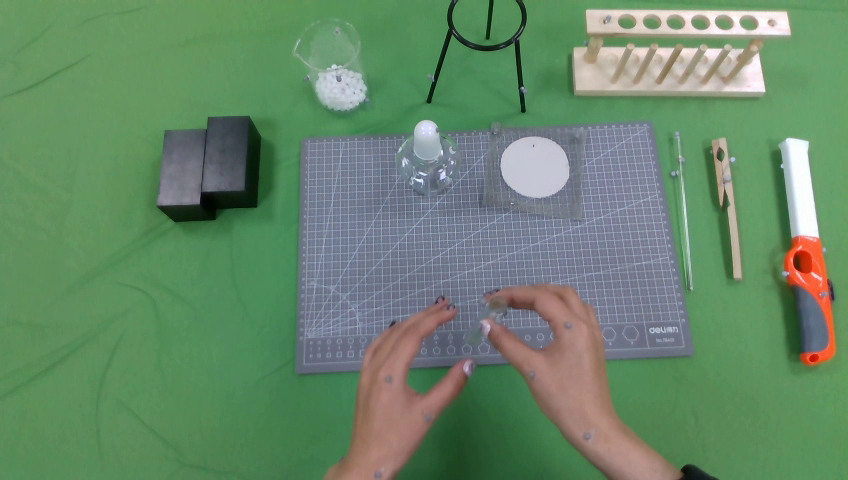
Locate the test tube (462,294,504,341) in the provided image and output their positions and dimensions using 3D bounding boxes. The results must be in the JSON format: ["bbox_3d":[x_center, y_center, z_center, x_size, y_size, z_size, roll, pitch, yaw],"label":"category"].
[{"bbox_3d":[0.052,0.074,0.559,0.017,0.151,0.017,1,71,-4],"label":"test tube"}]

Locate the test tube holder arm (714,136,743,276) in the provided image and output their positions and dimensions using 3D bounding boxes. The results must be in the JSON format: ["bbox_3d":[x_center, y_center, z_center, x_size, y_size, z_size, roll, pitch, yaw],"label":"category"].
[{"bbox_3d":[0.366,-0.044,0.732,0.013,0.015,0.177,-14,68,34],"label":"test tube holder arm"}]

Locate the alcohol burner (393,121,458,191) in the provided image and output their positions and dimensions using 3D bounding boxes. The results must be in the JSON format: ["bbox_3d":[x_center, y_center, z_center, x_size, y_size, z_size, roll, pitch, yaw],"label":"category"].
[{"bbox_3d":[0.001,-0.104,0.706,0.078,0.120,0.077,-1,71,3],"label":"alcohol burner"}]

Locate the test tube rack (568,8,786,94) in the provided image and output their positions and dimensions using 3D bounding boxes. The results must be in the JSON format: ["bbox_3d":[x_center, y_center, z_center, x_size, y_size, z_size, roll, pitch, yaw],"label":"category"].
[{"bbox_3d":[0.313,-0.236,0.763,0.242,0.086,0.066,1,71,1],"label":"test tube rack"}]

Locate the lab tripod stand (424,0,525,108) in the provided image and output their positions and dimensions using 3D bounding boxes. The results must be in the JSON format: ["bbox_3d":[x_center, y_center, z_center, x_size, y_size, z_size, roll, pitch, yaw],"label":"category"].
[{"bbox_3d":[0.066,-0.232,0.741,0.148,0.132,0.147,0,73,1],"label":"lab tripod stand"}]

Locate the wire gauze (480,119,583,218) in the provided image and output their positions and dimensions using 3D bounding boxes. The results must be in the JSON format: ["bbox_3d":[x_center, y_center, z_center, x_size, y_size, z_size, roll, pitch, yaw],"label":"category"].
[{"bbox_3d":[0.136,-0.093,0.757,0.125,0.011,0.121,8,73,3],"label":"wire gauze"}]

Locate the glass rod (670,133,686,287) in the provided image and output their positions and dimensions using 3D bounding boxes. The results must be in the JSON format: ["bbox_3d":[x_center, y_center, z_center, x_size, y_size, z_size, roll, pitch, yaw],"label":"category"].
[{"bbox_3d":[0.309,-0.040,0.738,0.008,0.008,0.198,3,74,2],"label":"glass rod"}]

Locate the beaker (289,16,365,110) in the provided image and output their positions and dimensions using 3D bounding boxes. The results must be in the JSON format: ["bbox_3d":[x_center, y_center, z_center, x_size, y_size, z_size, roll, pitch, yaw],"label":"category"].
[{"bbox_3d":[-0.116,-0.215,0.756,0.084,0.101,0.073,-10,71,-2],"label":"beaker"}]

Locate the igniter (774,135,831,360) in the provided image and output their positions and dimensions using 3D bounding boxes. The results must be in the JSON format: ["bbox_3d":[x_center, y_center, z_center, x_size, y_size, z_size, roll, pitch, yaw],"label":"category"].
[{"bbox_3d":[0.443,0.004,0.712,0.057,0.025,0.275,7,71,-8],"label":"igniter"}]

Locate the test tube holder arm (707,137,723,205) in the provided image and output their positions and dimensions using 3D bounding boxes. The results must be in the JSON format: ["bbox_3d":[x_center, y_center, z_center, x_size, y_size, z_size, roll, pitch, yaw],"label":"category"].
[{"bbox_3d":[0.362,-0.085,0.749,0.010,0.015,0.087,-12,68,34],"label":"test tube holder arm"}]

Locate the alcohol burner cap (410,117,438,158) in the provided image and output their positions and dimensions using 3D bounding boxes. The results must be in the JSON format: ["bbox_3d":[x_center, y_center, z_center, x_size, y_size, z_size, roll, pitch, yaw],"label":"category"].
[{"bbox_3d":[0.000,-0.117,0.673,0.034,0.048,0.033,0,65,1],"label":"alcohol burner cap"}]
